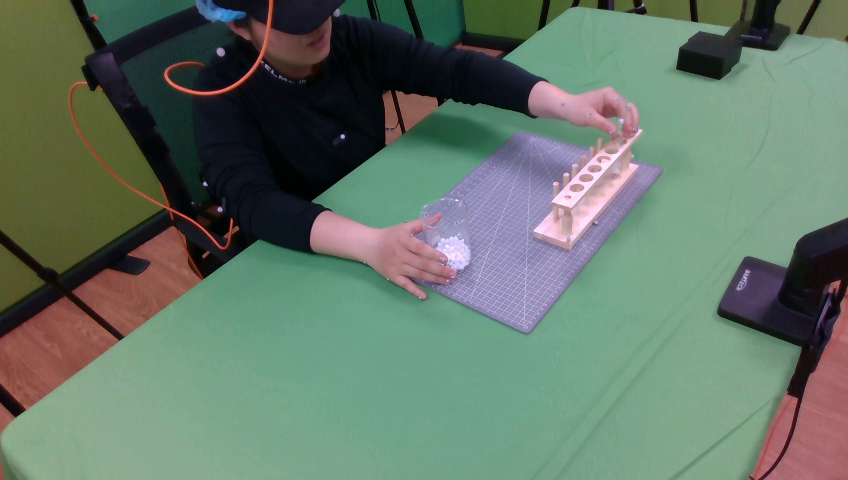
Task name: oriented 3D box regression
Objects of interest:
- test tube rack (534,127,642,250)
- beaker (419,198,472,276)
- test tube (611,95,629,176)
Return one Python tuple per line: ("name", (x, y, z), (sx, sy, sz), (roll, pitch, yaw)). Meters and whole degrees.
("test tube rack", (0.271, -0.094, 0.989), (0.066, 0.085, 0.243), (23, 50, 33))
("beaker", (0.037, -0.004, 0.916), (0.073, 0.101, 0.084), (24, 49, 33))
("test tube", (0.319, -0.167, 0.987), (0.017, 0.151, 0.017), (-5, 42, 5))
